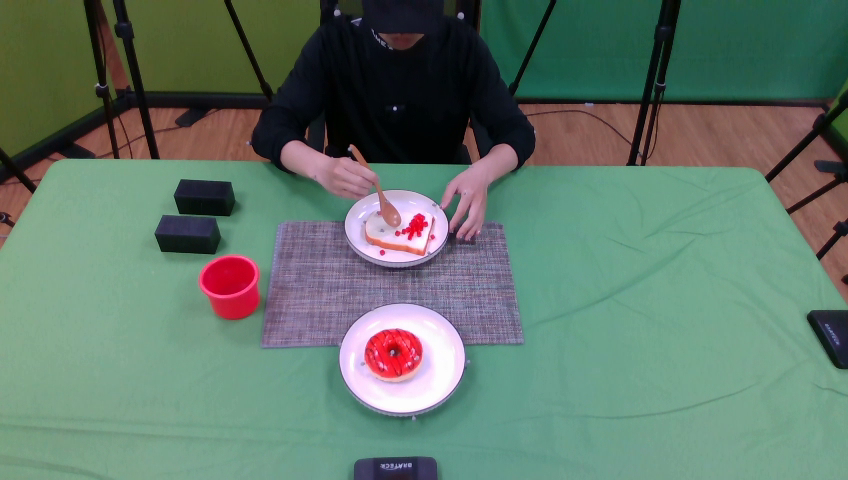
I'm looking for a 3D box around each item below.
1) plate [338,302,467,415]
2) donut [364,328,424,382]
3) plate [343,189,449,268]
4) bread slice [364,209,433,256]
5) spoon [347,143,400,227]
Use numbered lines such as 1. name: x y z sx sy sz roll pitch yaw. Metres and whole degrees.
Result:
1. plate: -0.035 0.194 0.992 0.208 0.039 0.206 2 48 -2
2. donut: -0.049 0.185 0.984 0.099 0.048 0.098 1 45 -1
3. plate: -0.055 -0.019 1.195 0.209 0.038 0.208 3 46 -2
4. bread slice: -0.054 -0.019 1.199 0.131 0.019 0.104 11 46 3
5. spoon: -0.092 -0.102 1.130 0.021 0.195 0.041 4 45 35
